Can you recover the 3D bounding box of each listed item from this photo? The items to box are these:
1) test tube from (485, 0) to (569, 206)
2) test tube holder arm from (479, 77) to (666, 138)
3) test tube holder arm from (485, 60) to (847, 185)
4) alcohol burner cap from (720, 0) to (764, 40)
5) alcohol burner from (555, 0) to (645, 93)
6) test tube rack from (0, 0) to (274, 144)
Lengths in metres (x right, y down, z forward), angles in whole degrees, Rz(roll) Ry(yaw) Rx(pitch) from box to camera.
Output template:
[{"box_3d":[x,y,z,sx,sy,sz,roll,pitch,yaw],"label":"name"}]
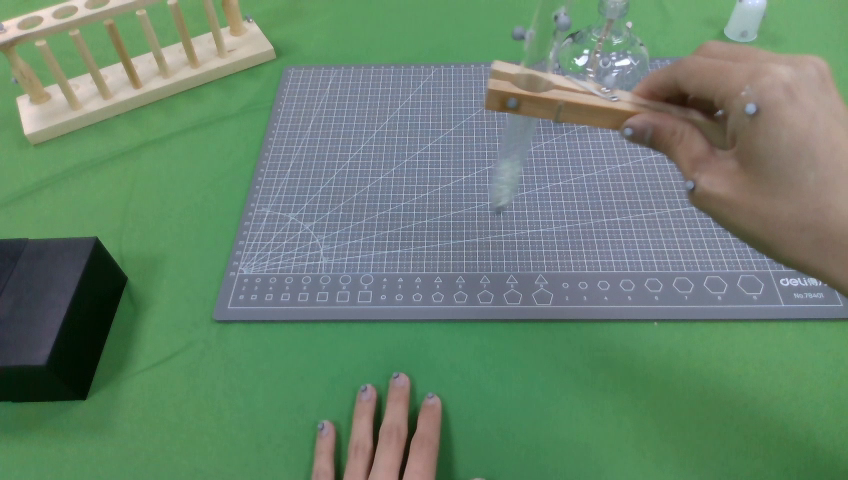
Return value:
[{"box_3d":[0.048,-0.068,0.301,0.017,0.151,0.017,3,54,-4],"label":"test tube"},{"box_3d":[0.071,-0.063,0.291,0.088,0.015,0.010,9,55,1],"label":"test tube holder arm"},{"box_3d":[0.115,-0.057,0.292,0.178,0.015,0.013,16,56,5],"label":"test tube holder arm"},{"box_3d":[0.321,-0.228,0.606,0.034,0.048,0.033,-2,52,3],"label":"alcohol burner cap"},{"box_3d":[0.155,-0.175,0.524,0.078,0.120,0.077,-1,50,2],"label":"alcohol burner"},{"box_3d":[-0.277,-0.186,0.579,0.242,0.086,0.066,-26,54,-16],"label":"test tube rack"}]
